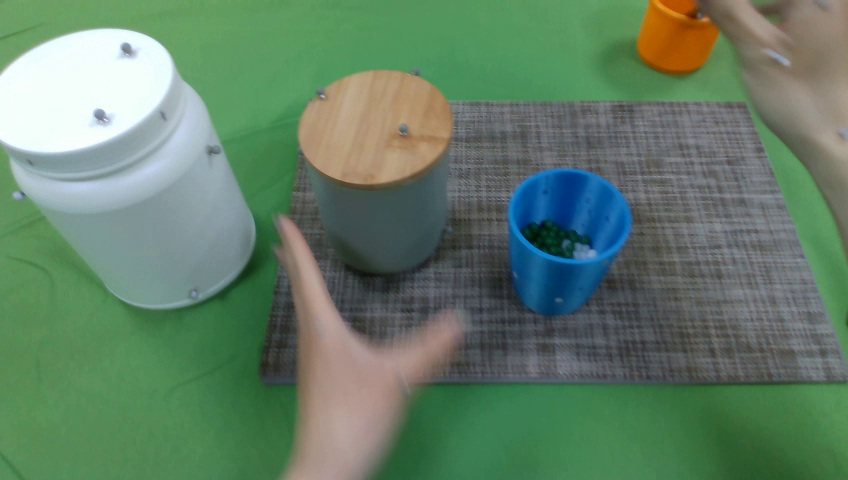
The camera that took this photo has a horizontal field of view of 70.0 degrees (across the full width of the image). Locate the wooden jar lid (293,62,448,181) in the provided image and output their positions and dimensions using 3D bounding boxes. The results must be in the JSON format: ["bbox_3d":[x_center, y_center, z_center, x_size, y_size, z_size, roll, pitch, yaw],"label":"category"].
[{"bbox_3d":[-0.037,-0.082,0.429,0.108,0.021,0.107,-2,58,3],"label":"wooden jar lid"}]

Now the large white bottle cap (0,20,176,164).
[{"bbox_3d":[-0.217,-0.096,0.382,0.115,0.018,0.114,0,57,1],"label":"large white bottle cap"}]

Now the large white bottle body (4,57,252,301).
[{"bbox_3d":[-0.216,-0.050,0.453,0.130,0.186,0.129,0,57,1],"label":"large white bottle body"}]

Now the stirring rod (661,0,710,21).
[{"bbox_3d":[0.257,-0.228,0.596,0.014,0.006,0.175,6,14,9],"label":"stirring rod"}]

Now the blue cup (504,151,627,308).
[{"bbox_3d":[0.100,0.003,0.462,0.092,0.101,0.092,-1,56,1],"label":"blue cup"}]

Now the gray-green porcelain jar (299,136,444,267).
[{"bbox_3d":[-0.037,-0.047,0.482,0.106,0.127,0.105,0,57,1],"label":"gray-green porcelain jar"}]

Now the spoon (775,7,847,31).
[{"bbox_3d":[0.432,-0.226,0.587,0.042,0.022,0.192,-23,15,-17],"label":"spoon"}]
